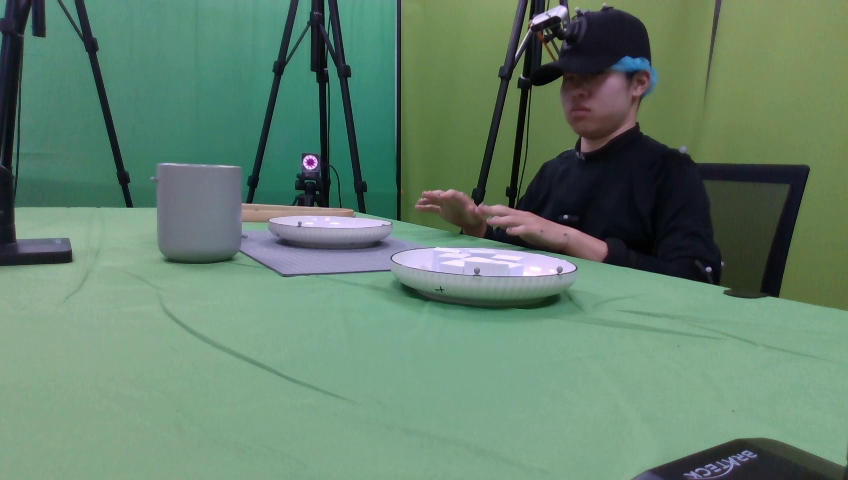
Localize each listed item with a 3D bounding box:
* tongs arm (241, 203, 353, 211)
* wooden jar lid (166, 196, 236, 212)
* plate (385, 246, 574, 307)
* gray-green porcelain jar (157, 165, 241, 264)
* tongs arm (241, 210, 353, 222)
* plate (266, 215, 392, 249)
[{"bbox_3d":[-0.361,-0.069,1.406,0.386,0.026,0.050,1,8,-14],"label":"tongs arm"},{"bbox_3d":[-0.369,-0.059,1.001,0.108,0.020,0.108,3,6,0],"label":"wooden jar lid"},{"bbox_3d":[0.060,0.041,0.678,0.208,0.039,0.207,3,7,0],"label":"plate"},{"bbox_3d":[-0.300,-0.036,0.811,0.106,0.126,0.106,2,8,0],"label":"gray-green porcelain jar"},{"bbox_3d":[-0.337,-0.054,1.329,0.389,0.028,0.028,-1,6,-27],"label":"tongs arm"},{"bbox_3d":[-0.159,-0.015,1.019,0.209,0.038,0.209,3,7,0],"label":"plate"}]
